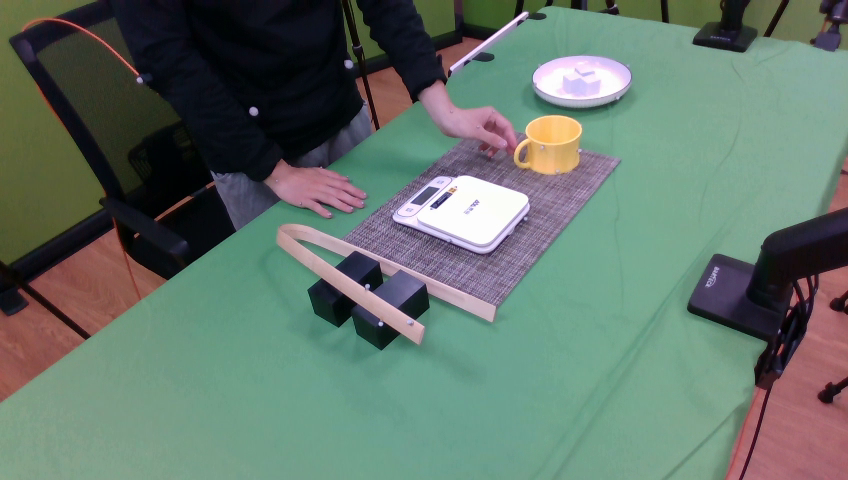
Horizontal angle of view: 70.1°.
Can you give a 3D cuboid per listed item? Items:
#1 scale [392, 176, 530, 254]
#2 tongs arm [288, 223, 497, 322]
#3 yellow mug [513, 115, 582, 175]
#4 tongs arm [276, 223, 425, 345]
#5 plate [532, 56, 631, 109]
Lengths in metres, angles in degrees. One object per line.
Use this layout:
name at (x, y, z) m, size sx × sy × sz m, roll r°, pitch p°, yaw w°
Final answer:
scale at (0.060, -0.050, 1.006) m, size 0.199 × 0.032 × 0.149 m, roll 22°, pitch 48°, yaw 30°
tongs arm at (-0.060, 0.042, 0.918) m, size 0.384 × 0.028 × 0.028 m, roll 21°, pitch 24°, yaw 29°
yellow mug at (0.220, -0.168, 1.094) m, size 0.131 × 0.064 × 0.099 m, roll -21°, pitch 42°, yaw -14°
tongs arm at (-0.114, 0.049, 0.856) m, size 0.051 × 0.026 × 0.381 m, roll -7°, pitch 25°, yaw -43°
plate at (0.336, -0.336, 1.301) m, size 0.207 × 0.039 × 0.206 m, roll -4°, pitch 41°, yaw 4°
